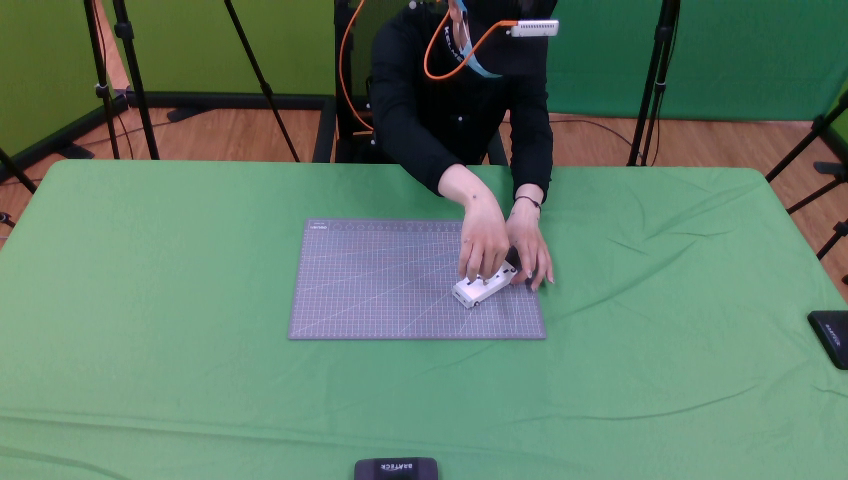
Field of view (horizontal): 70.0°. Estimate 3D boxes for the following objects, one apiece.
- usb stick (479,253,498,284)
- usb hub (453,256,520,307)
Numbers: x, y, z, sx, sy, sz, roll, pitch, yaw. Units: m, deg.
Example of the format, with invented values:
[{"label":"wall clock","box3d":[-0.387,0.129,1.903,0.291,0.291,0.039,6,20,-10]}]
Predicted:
[{"label":"usb stick","box3d":[0.116,0.055,1.087,0.021,0.059,0.027,-30,39,-33]},{"label":"usb hub","box3d":[0.116,0.076,1.122,0.125,0.025,0.049,-29,54,-26]}]
